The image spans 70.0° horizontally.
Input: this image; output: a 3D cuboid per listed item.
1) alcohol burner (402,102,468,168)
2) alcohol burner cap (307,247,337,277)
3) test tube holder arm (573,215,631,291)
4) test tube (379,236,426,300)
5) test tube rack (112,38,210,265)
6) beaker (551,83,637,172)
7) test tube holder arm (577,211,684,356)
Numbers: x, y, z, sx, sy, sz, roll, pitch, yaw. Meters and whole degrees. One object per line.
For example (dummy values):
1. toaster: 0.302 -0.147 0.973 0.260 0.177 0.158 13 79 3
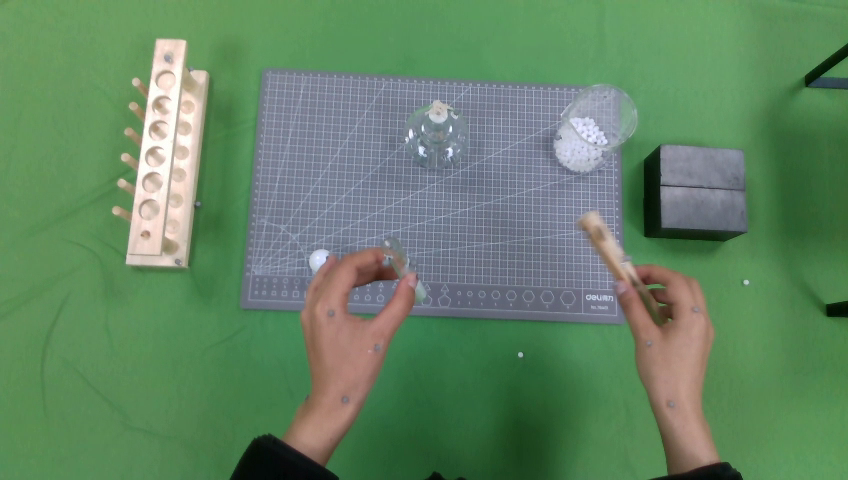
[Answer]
1. alcohol burner: 0.013 -0.127 0.691 0.078 0.119 0.077 0 79 0
2. alcohol burner cap: -0.119 0.023 0.692 0.034 0.048 0.033 1 79 -3
3. test tube holder arm: 0.170 0.013 0.571 0.010 0.015 0.088 -43 104 -19
4. test tube: -0.016 0.028 0.527 0.017 0.151 0.017 -3 70 8
5. test tube rack: -0.302 -0.098 0.688 0.067 0.085 0.241 3 79 -2
6. beaker: 0.191 -0.125 0.706 0.084 0.100 0.073 1 78 -1
7. test tube holder arm: 0.201 0.044 0.583 0.013 0.015 0.179 -44 104 -19
